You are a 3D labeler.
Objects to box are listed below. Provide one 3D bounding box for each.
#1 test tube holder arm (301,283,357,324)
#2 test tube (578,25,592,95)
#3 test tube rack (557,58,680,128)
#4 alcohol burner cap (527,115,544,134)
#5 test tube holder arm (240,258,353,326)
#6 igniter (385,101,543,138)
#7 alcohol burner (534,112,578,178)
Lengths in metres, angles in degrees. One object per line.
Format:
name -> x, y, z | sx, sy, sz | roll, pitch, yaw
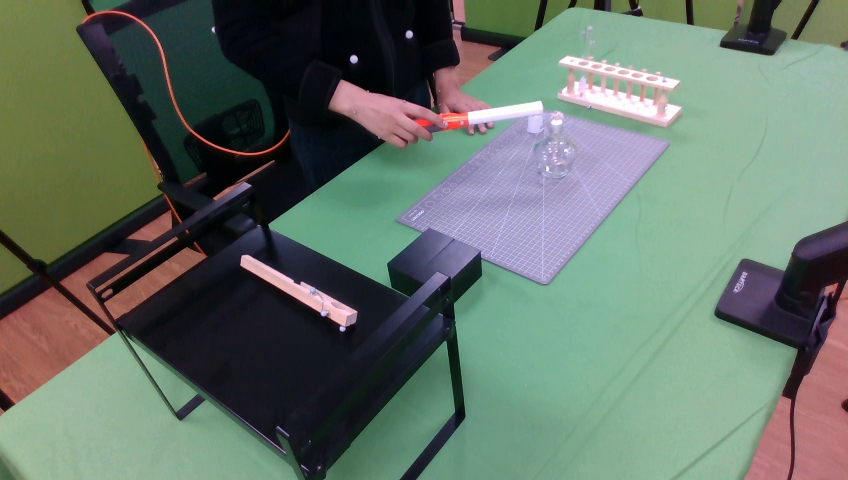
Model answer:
test tube holder arm -> -0.105, 0.066, 0.638 | 0.087, 0.015, 0.010 | 22, 14, 33
test tube -> 0.326, -0.362, 1.227 | 0.017, 0.151, 0.017 | -3, 44, 4
test tube rack -> 0.395, -0.309, 1.230 | 0.240, 0.085, 0.067 | 25, 50, 33
alcohol burner cap -> 0.222, -0.238, 1.203 | 0.034, 0.048, 0.033 | -5, 41, 5
test tube holder arm -> -0.143, 0.053, 0.658 | 0.177, 0.015, 0.013 | 21, 14, 33
igniter -> 0.066, -0.209, 1.048 | 0.276, 0.025, 0.057 | -7, 31, 6
alcohol burner -> 0.232, -0.170, 1.066 | 0.078, 0.119, 0.077 | -5, 39, 5
